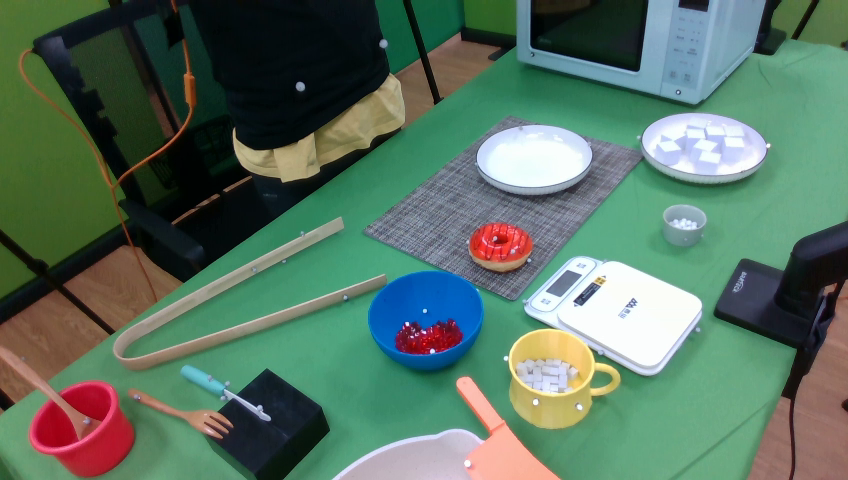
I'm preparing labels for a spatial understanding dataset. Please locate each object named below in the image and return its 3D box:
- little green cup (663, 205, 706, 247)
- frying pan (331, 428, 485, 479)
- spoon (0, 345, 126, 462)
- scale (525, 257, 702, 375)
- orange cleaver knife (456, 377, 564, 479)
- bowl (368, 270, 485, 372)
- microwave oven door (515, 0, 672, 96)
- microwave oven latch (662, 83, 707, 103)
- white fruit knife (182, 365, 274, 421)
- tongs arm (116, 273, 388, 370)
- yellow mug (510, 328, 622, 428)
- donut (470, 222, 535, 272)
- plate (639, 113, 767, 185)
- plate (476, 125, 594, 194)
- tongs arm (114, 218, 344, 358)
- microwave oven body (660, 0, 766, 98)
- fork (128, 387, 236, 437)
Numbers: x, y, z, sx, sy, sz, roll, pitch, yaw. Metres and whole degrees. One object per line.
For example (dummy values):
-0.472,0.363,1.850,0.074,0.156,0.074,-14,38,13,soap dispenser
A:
0.396,-0.021,0.926,0.061,0.039,0.061,-4,40,4,little green cup
-0.089,0.306,0.564,0.487,0.103,0.306,10,41,7,frying pan
-0.434,0.192,0.720,0.194,0.021,0.042,47,54,-7,spoon
0.254,0.091,0.821,0.199,0.032,0.149,28,51,35,scale
0.081,0.220,0.611,0.077,0.012,0.209,-26,43,-22,orange cleaver knife
0.007,0.118,0.791,0.151,0.077,0.150,-4,40,4,bowl
0.343,-0.454,1.259,0.353,0.245,0.039,26,51,33,microwave oven door
0.517,-0.296,1.204,0.078,0.029,0.030,27,52,35,microwave oven latch
-0.245,0.187,0.747,0.205,0.027,0.016,9,42,40,white fruit knife
-0.236,0.114,0.869,0.389,0.028,0.028,-18,49,-13,tongs arm
0.169,0.164,0.722,0.130,0.064,0.099,0,40,8,yellow mug
0.119,0.009,0.923,0.099,0.048,0.098,-4,38,3,donut
0.489,-0.157,1.074,0.207,0.039,0.206,-4,40,4,plate
0.199,-0.141,1.093,0.209,0.038,0.208,-4,40,4,plate
-0.280,0.067,0.926,0.386,0.026,0.050,-29,49,-23,tongs arm
0.472,-0.513,1.317,0.438,0.261,0.327,26,51,34,microwave oven body
-0.305,0.208,0.744,0.206,0.019,0.028,3,41,36,fork
